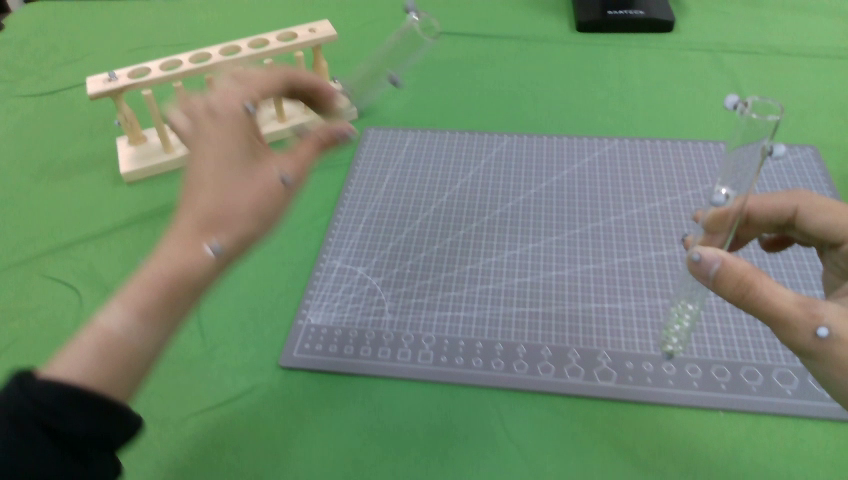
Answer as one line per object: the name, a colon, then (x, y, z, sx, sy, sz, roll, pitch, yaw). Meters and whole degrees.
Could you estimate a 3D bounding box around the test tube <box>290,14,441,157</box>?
test tube: (-0.040, -0.082, 0.348, 0.017, 0.150, 0.017, 15, 64, -34)

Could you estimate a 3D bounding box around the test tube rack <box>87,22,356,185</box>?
test tube rack: (-0.199, -0.143, 0.621, 0.243, 0.086, 0.066, -19, 48, -14)

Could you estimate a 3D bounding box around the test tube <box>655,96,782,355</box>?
test tube: (0.128, 0.004, 0.275, 0.017, 0.151, 0.017, -2, 44, 2)
